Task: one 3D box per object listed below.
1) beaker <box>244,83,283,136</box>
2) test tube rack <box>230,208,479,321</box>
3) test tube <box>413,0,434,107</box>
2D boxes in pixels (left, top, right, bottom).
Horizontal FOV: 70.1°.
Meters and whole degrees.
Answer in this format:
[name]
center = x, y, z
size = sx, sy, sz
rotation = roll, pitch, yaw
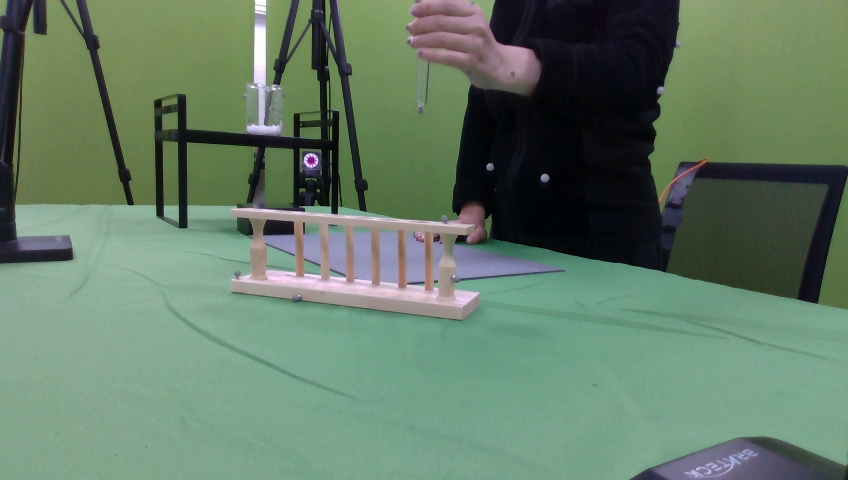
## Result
[beaker]
center = -0.322, -0.260, 1.215
size = 0.074, 0.100, 0.083
rotation = -1, 9, -27
[test tube rack]
center = -0.069, 0.017, 0.598
size = 0.242, 0.085, 0.067
rotation = 5, 8, 18
[test tube]
center = 0.000, -0.224, 0.671
size = 0.017, 0.150, 0.017
rotation = 4, 18, -1
